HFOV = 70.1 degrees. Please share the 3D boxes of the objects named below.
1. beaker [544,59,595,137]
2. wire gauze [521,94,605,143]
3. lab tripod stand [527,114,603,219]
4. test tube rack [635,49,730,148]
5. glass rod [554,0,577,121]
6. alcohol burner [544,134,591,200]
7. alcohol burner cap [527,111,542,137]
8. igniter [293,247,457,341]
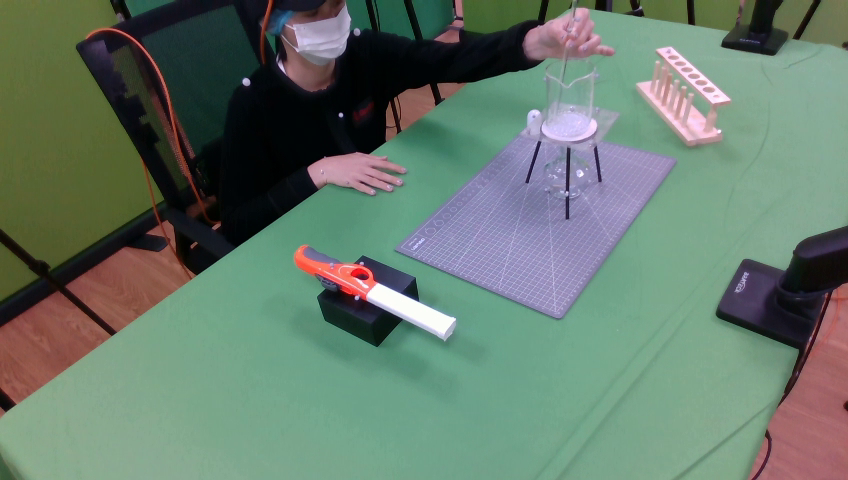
[{"bbox_3d":[0.222,-0.214,0.926,0.074,0.101,0.084,3,42,16],"label":"beaker"},{"bbox_3d":[0.220,-0.190,0.949,0.121,0.011,0.125,7,46,14],"label":"wire gauze"},{"bbox_3d":[0.234,-0.129,1.002,0.148,0.132,0.147,-6,40,6],"label":"lab tripod stand"},{"bbox_3d":[0.497,-0.283,1.185,0.067,0.085,0.240,-10,40,-2],"label":"test tube rack"},{"bbox_3d":[0.208,-0.260,0.895,0.008,0.200,0.008,-1,47,1],"label":"glass rod"},{"bbox_3d":[0.241,-0.127,1.014,0.078,0.119,0.077,-5,42,5],"label":"alcohol burner"},{"bbox_3d":[0.221,-0.233,1.200,0.034,0.048,0.033,-6,41,6],"label":"alcohol burner cap"},{"bbox_3d":[-0.077,0.068,0.830,0.274,0.025,0.057,22,48,27],"label":"igniter"}]
